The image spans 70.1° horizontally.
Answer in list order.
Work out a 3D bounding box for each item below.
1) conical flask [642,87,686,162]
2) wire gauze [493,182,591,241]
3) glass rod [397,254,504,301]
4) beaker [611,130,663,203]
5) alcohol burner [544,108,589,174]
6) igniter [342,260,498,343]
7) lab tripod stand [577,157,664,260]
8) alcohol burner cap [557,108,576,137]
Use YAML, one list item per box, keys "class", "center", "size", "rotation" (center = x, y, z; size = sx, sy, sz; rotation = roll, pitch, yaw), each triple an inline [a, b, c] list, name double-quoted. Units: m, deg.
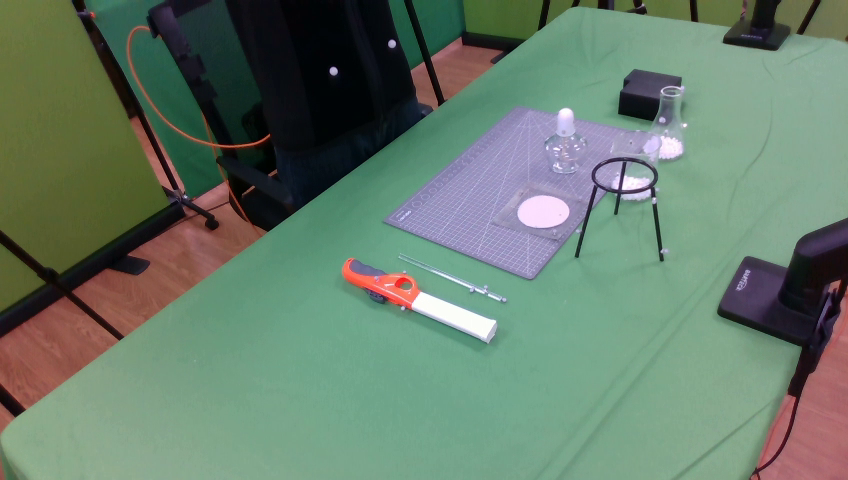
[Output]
- class: "conical flask"
  center: [0.429, -0.206, 1.067]
  size: [0.075, 0.122, 0.075]
  rotation: [-6, 40, 6]
- class: "wire gauze"
  center: [0.198, -0.048, 1.011]
  size: [0.120, 0.011, 0.125]
  rotation: [20, 50, 31]
- class: "glass rod"
  center: [0.036, 0.054, 0.922]
  size: [0.198, 0.008, 0.008]
  rotation: [22, 50, 31]
- class: "beaker"
  center: [0.346, -0.118, 0.998]
  size: [0.084, 0.101, 0.073]
  rotation: [-17, 40, -7]
- class: "alcohol burner"
  center: [0.252, -0.178, 1.071]
  size: [0.078, 0.120, 0.077]
  rotation: [-7, 40, 6]
- class: "igniter"
  center: [-0.017, 0.084, 0.883]
  size: [0.274, 0.025, 0.057]
  rotation: [20, 58, 31]
- class: "lab tripod stand"
  center: [0.292, -0.047, 0.897]
  size: [0.148, 0.132, 0.147]
  rotation: [-7, 38, 6]
- class: "alcohol burner cap"
  center: [0.246, -0.205, 1.047]
  size: [0.034, 0.048, 0.033]
  rotation: [-8, 44, 8]
